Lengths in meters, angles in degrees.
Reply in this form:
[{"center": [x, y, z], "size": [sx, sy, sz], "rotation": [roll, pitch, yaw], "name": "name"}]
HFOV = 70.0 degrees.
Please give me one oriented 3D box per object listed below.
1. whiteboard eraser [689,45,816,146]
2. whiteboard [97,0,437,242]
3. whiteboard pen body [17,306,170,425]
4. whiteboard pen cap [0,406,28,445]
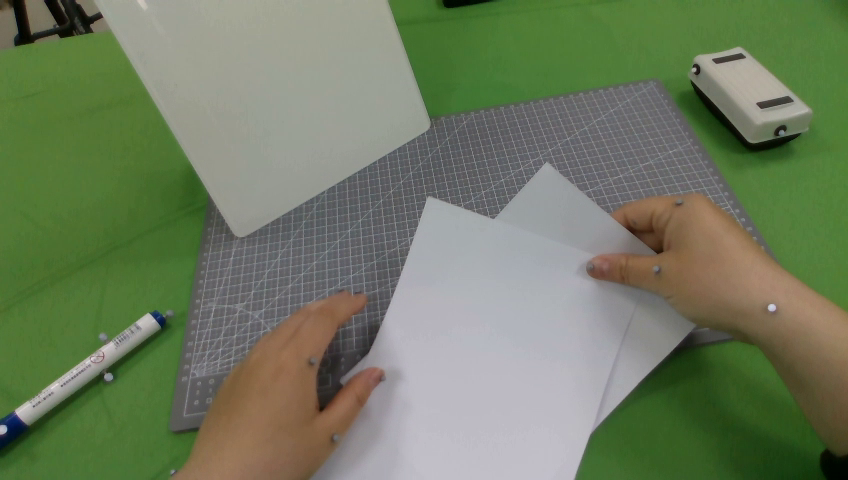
[{"center": [0.292, -0.131, 0.547], "size": [0.055, 0.042, 0.111], "rotation": [-15, 49, -2], "name": "whiteboard eraser"}, {"center": [-0.156, -0.196, 0.536], "size": [0.217, 0.308, 0.142], "rotation": [-33, 32, -18], "name": "whiteboard"}, {"center": [-0.250, 0.097, 0.444], "size": [0.017, 0.017, 0.140], "rotation": [33, 60, 31], "name": "whiteboard pen body"}, {"center": [-0.291, 0.130, 0.419], "size": [0.018, 0.018, 0.033], "rotation": [32, 59, 31], "name": "whiteboard pen cap"}]
